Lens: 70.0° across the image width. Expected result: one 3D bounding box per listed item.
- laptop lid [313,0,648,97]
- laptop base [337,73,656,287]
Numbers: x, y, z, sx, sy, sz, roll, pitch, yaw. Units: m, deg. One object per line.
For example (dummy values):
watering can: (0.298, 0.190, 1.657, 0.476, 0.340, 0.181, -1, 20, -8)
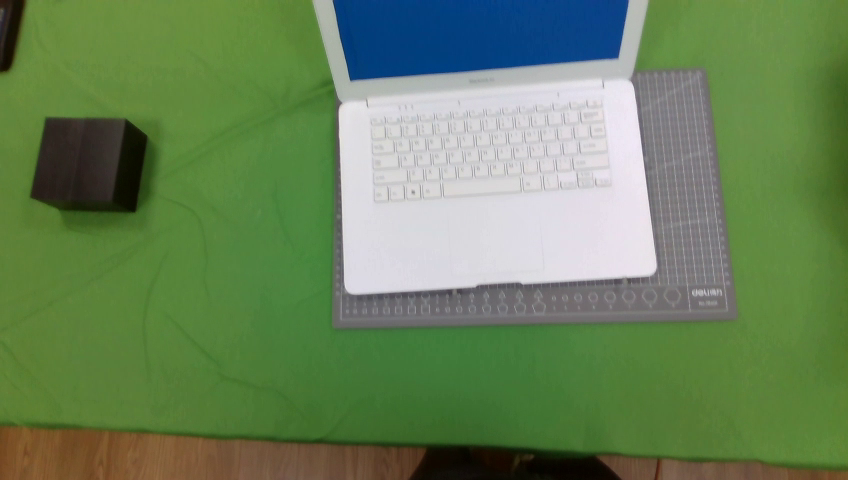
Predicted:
laptop lid: (0.060, -0.255, 0.636, 0.356, 0.244, 0.013, -5, 53, 4)
laptop base: (0.077, -0.071, 0.707, 0.354, 0.023, 0.234, -4, 81, 3)
